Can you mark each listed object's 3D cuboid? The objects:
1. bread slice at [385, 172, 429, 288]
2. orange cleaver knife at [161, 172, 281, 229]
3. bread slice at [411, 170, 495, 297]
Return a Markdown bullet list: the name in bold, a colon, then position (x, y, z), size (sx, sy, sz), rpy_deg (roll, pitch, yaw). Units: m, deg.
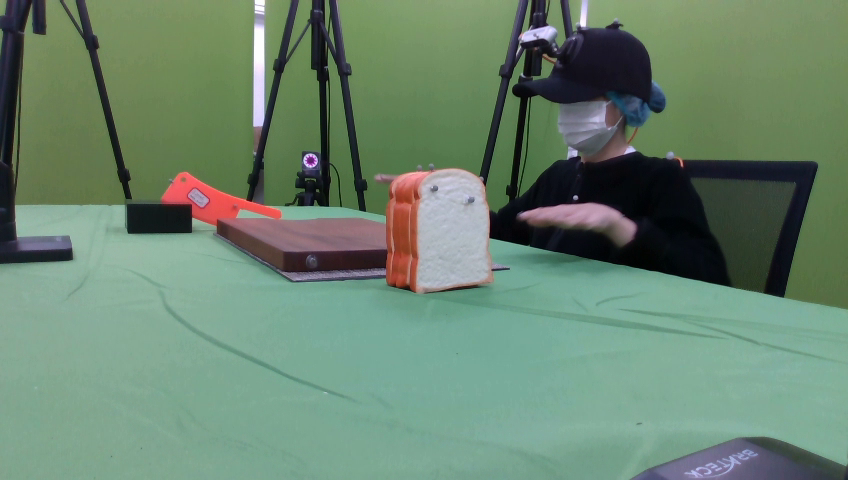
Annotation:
- **bread slice**: position (0.001, -0.013, 0.705), size (0.105, 0.131, 0.019), rpy_deg (-1, 1, -33)
- **orange cleaver knife**: position (-0.372, -0.061, 1.121), size (0.212, 0.077, 0.012), rpy_deg (20, -6, -30)
- **bread slice**: position (0.028, -0.009, 0.660), size (0.107, 0.134, 0.018), rpy_deg (-9, 7, -36)
